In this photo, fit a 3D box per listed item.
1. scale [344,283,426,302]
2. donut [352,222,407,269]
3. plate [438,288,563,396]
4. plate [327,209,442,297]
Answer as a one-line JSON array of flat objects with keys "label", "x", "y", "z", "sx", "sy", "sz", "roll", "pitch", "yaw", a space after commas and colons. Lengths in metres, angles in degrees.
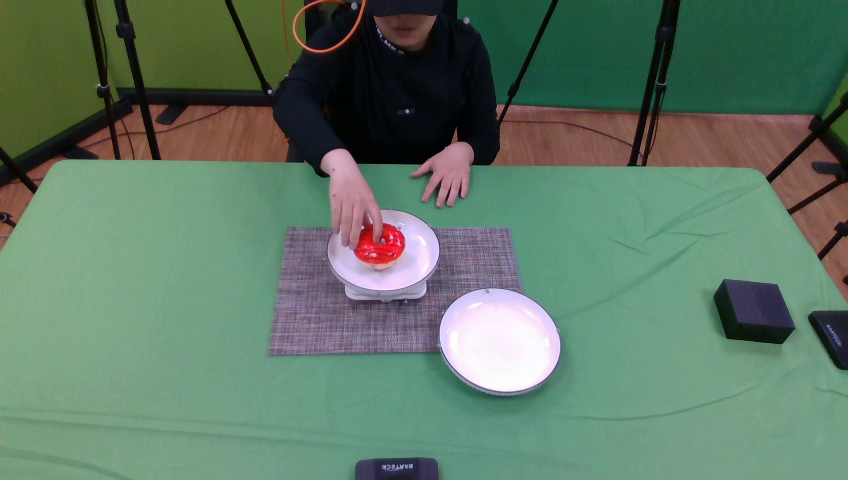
[{"label": "scale", "x": -0.075, "y": 0.033, "z": 1.149, "sx": 0.149, "sy": 0.032, "sz": 0.199, "roll": 0, "pitch": 45, "yaw": -5}, {"label": "donut", "x": -0.080, "y": 0.008, "z": 1.089, "sx": 0.099, "sy": 0.048, "sz": 0.098, "roll": 0, "pitch": 49, "yaw": 1}, {"label": "plate", "x": 0.127, "y": 0.173, "z": 1.025, "sx": 0.209, "sy": 0.038, "sz": 0.208, "roll": 3, "pitch": 48, "yaw": -3}, {"label": "plate", "x": -0.072, "y": 0.027, "z": 1.110, "sx": 0.208, "sy": 0.039, "sz": 0.206, "roll": 2, "pitch": 46, "yaw": -1}]
